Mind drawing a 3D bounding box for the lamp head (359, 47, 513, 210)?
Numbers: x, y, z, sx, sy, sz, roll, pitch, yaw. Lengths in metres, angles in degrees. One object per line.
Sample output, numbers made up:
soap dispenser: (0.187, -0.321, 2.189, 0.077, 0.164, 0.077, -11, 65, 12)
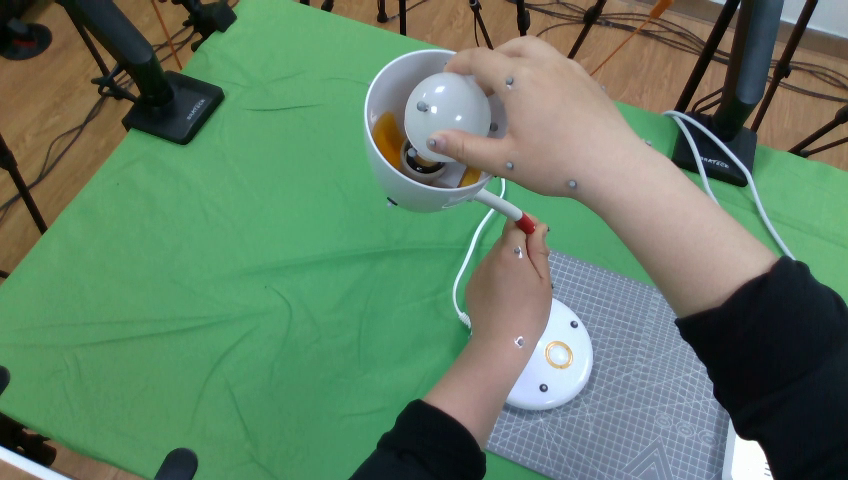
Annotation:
lamp head: (0.005, -0.070, 0.480, 0.112, 0.123, 0.111, 2, 71, -4)

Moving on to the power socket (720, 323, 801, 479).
power socket: (0.418, 0.205, 0.749, 0.072, 0.033, 0.225, 20, 61, 8)

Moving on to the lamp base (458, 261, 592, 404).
lamp base: (0.125, 0.092, 0.719, 0.179, 0.182, 0.159, 14, 61, 10)

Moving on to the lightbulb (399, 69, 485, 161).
lightbulb: (0.007, -0.083, 0.441, 0.060, 0.107, 0.059, 3, 80, -14)
